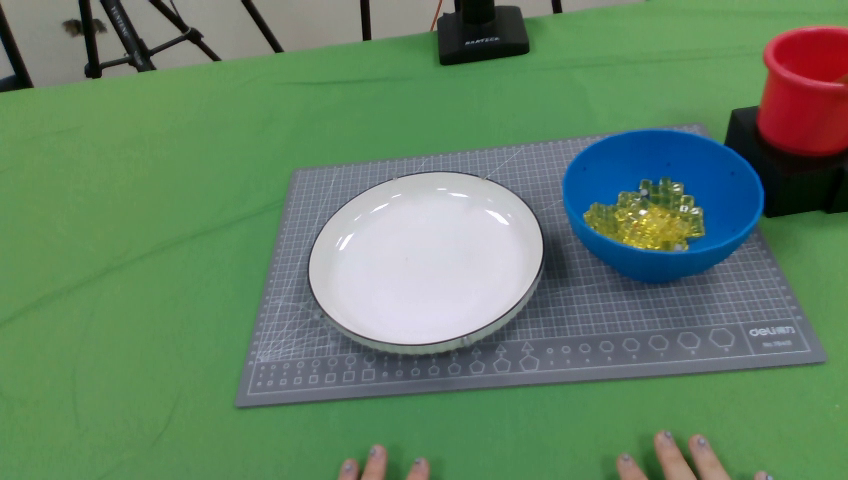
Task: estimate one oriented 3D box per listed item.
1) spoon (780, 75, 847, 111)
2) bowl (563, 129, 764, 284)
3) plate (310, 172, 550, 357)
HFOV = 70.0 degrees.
[{"bbox_3d":[0.327,-0.119,0.464,0.041,0.021,0.194,0,2,9],"label":"spoon"},{"bbox_3d":[0.191,-0.016,0.504,0.151,0.077,0.150,-6,46,6],"label":"bowl"},{"bbox_3d":[0.006,0.019,0.536,0.207,0.039,0.205,-6,45,6],"label":"plate"}]
